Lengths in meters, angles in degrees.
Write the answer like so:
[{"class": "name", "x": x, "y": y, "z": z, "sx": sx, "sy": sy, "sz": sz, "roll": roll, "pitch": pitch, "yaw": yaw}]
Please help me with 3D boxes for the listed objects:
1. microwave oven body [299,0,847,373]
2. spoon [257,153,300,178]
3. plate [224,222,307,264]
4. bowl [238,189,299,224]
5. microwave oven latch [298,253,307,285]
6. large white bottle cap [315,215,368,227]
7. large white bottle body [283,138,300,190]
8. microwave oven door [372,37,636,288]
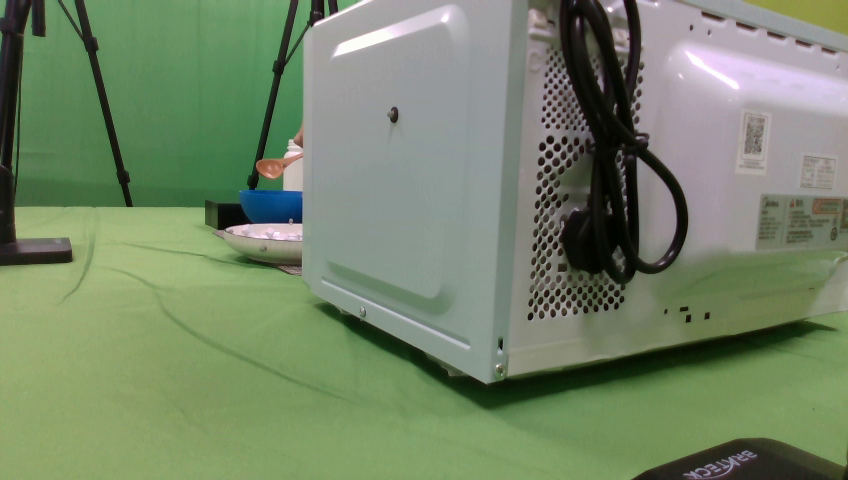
[{"class": "microwave oven body", "x": 0.151, "y": -0.055, "z": 0.542, "sx": 0.444, "sy": 0.260, "sz": 0.324, "roll": -2, "pitch": 7, "yaw": -33}, {"class": "spoon", "x": -0.234, "y": -0.156, "z": 1.131, "sx": 0.021, "sy": 0.041, "sz": 0.194, "roll": -9, "pitch": 13, "yaw": 46}, {"class": "plate", "x": -0.171, "y": 0.004, "z": 0.849, "sx": 0.209, "sy": 0.038, "sz": 0.209, "roll": 2, "pitch": 7, "yaw": 0}, {"class": "bowl", "x": -0.245, "y": -0.045, "z": 1.053, "sx": 0.151, "sy": 0.077, "sz": 0.151, "roll": 3, "pitch": 7, "yaw": 0}, {"class": "microwave oven latch", "x": -0.081, "y": 0.027, "z": 0.583, "sx": 0.079, "sy": 0.029, "sz": 0.030, "roll": -2, "pitch": 7, "yaw": -33}, {"class": "large white bottle cap", "x": -0.178, "y": -0.041, "z": 1.309, "sx": 0.115, "sy": 0.018, "sz": 0.115, "roll": 2, "pitch": 6, "yaw": 0}, {"class": "large white bottle body", "x": -0.265, "y": -0.143, "z": 1.423, "sx": 0.131, "sy": 0.184, "sz": 0.130, "roll": 2, "pitch": 7, "yaw": 0}, {"class": "microwave oven door", "x": 0.110, "y": -0.080, "z": 0.686, "sx": 0.358, "sy": 0.243, "sz": 0.039, "roll": -2, "pitch": 9, "yaw": -33}]
